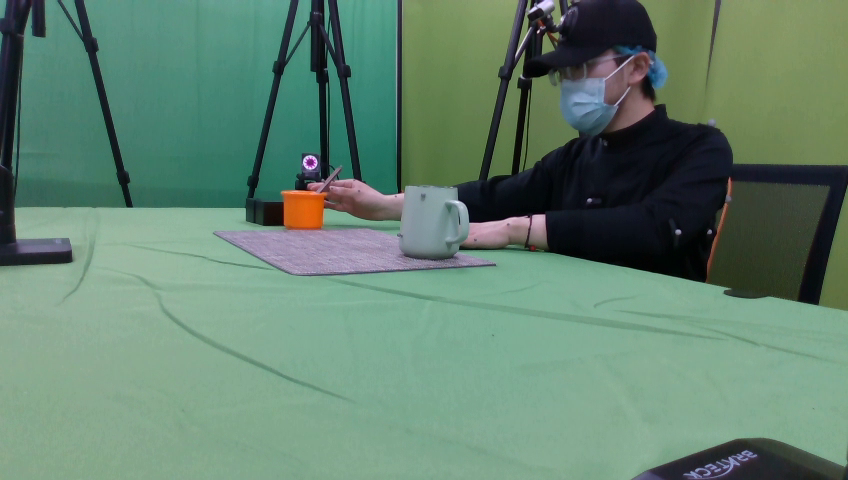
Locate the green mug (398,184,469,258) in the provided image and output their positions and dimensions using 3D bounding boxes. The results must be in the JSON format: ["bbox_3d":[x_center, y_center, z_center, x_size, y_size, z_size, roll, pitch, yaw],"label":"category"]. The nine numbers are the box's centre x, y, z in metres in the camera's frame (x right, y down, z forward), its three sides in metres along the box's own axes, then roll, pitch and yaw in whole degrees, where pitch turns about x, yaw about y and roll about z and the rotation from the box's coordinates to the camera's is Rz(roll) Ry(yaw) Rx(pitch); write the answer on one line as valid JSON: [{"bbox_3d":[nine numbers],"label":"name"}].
[{"bbox_3d":[0.020,-0.028,0.890,0.093,0.105,0.124,-4,9,-41],"label":"green mug"}]

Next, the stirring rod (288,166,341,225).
[{"bbox_3d":[-0.222,-0.093,1.238,0.014,0.006,0.176,6,49,40],"label":"stirring rod"}]
